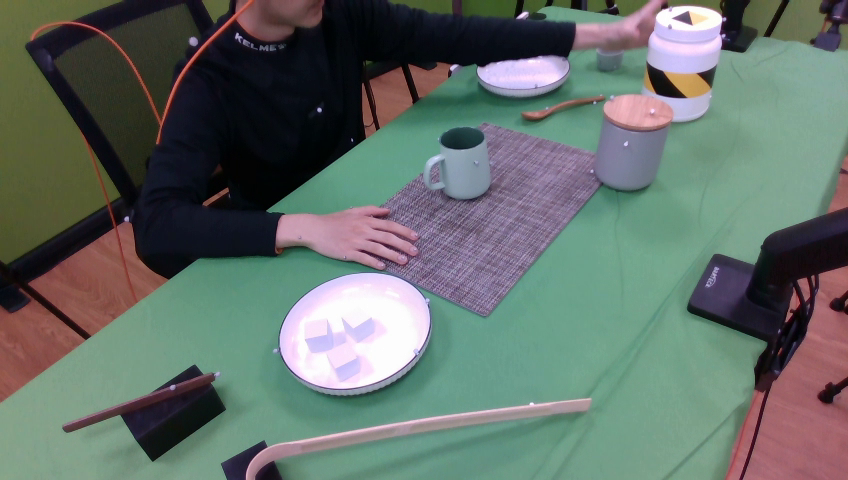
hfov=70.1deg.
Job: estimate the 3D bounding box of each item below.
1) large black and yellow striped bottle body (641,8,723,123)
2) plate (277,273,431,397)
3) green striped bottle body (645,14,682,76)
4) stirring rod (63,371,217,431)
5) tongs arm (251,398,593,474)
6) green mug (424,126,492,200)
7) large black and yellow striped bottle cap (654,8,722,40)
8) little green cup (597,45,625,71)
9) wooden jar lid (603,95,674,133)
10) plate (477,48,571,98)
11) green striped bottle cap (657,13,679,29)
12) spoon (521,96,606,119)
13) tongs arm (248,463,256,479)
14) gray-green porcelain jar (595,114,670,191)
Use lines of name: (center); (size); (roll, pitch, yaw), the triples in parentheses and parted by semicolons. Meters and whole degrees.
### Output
large black and yellow striped bottle body: (0.493, -0.334, 1.161); (0.131, 0.185, 0.130); (-4, 41, 4)
plate: (-0.091, 0.129, 0.821); (0.207, 0.039, 0.206); (-4, 40, 4)
green striped bottle body: (0.520, -0.424, 1.312); (0.063, 0.120, 0.063); (-4, 41, 4)
stirring rod: (-0.337, 0.192, 0.723); (0.177, 0.014, 0.005); (-18, 42, -12)
tongs arm: (0.008, 0.212, 0.675); (0.389, 0.028, 0.028); (-5, 46, -11)
green mug: (0.055, -0.125, 1.039); (0.126, 0.105, 0.091); (-26, 44, -20)
large black and yellow striped bottle cap: (0.483, -0.397, 1.108); (0.115, 0.019, 0.114); (-3, 42, 3)
little green cup: (0.423, -0.413, 1.375); (0.061, 0.039, 0.061); (-4, 41, 4)
wooden jar lid: (0.343, -0.200, 0.974); (0.108, 0.021, 0.108); (-2, 39, 2)
plate: (0.223, -0.371, 1.357); (0.209, 0.038, 0.208); (-4, 41, 4)
green striped bottle cap: (0.515, -0.463, 1.278); (0.044, 0.020, 0.044); (-6, 42, 6)
spoon: (0.291, -0.277, 1.249); (0.194, 0.022, 0.041); (-18, 22, -11)
tongs arm: (0.012, 0.262, 0.615); (0.385, 0.026, 0.050); (2, 42, -2)
gray-green porcelain jar: (0.346, -0.155, 1.017); (0.106, 0.127, 0.105); (-2, 44, 2)
